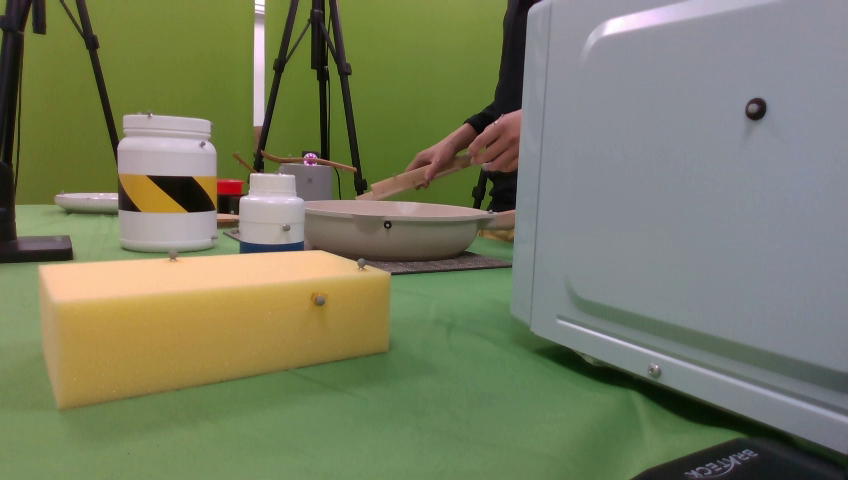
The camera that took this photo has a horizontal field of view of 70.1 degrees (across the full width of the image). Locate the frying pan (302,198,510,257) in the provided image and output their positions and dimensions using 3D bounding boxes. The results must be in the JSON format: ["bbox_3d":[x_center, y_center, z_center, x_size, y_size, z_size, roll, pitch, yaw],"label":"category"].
[{"bbox_3d":[0.050,-0.035,0.915,0.487,0.102,0.307,-5,7,10],"label":"frying pan"}]

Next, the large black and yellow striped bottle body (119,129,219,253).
[{"bbox_3d":[-0.367,-0.080,0.876,0.131,0.184,0.130,1,7,0],"label":"large black and yellow striped bottle body"}]

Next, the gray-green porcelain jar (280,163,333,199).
[{"bbox_3d":[-0.238,-0.092,1.221,0.106,0.126,0.106,2,7,0],"label":"gray-green porcelain jar"}]

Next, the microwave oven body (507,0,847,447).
[{"bbox_3d":[0.331,-0.042,0.425,0.444,0.260,0.324,-2,8,-31],"label":"microwave oven body"}]

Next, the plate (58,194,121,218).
[{"bbox_3d":[-0.671,-0.074,1.310,0.209,0.038,0.209,2,8,0],"label":"plate"}]

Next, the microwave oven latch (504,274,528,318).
[{"bbox_3d":[0.100,0.041,0.471,0.079,0.029,0.030,-1,8,-28],"label":"microwave oven latch"}]

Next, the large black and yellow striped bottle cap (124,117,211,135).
[{"bbox_3d":[-0.366,-0.163,0.866,0.115,0.019,0.115,3,7,0],"label":"large black and yellow striped bottle cap"}]

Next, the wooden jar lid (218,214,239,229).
[{"bbox_3d":[-0.404,-0.037,1.169,0.108,0.020,0.108,3,7,0],"label":"wooden jar lid"}]

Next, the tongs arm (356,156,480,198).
[{"bbox_3d":[-0.006,-0.154,1.431,0.389,0.027,0.028,-25,-6,-39],"label":"tongs arm"}]

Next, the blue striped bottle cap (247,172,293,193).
[{"bbox_3d":[-0.152,-0.057,0.598,0.044,0.020,0.044,3,6,0],"label":"blue striped bottle cap"}]

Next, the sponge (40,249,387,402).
[{"bbox_3d":[-0.142,0.047,0.419,0.208,0.061,0.117,-3,8,-36],"label":"sponge"}]

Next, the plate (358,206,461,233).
[{"bbox_3d":[-0.030,-0.041,1.213,0.208,0.039,0.207,3,7,0],"label":"plate"}]

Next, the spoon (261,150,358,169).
[{"bbox_3d":[-0.229,-0.161,1.222,0.194,0.021,0.041,3,2,-16],"label":"spoon"}]

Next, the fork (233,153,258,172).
[{"bbox_3d":[-0.396,-0.144,1.486,0.028,0.018,0.208,20,-25,45],"label":"fork"}]

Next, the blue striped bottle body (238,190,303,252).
[{"bbox_3d":[-0.153,-0.007,0.606,0.063,0.120,0.063,2,8,0],"label":"blue striped bottle body"}]

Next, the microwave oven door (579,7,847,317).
[{"bbox_3d":[0.294,-0.067,0.570,0.358,0.243,0.039,-3,9,-31],"label":"microwave oven door"}]

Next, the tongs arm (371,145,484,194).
[{"bbox_3d":[0.017,-0.165,1.402,0.386,0.026,0.050,-25,-2,-39],"label":"tongs arm"}]
